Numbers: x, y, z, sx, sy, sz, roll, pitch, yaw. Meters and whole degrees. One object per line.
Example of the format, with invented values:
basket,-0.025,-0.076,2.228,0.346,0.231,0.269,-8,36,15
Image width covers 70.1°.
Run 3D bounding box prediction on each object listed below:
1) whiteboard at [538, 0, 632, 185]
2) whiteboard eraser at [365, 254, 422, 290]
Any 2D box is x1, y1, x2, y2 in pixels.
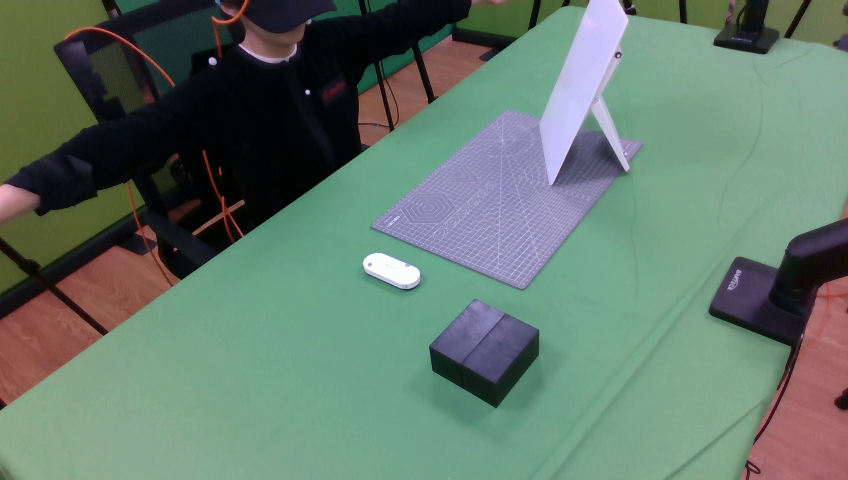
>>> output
whiteboard,0.327,-0.259,1.055,0.144,0.305,0.216,13,40,-6
whiteboard eraser,-0.047,0.048,0.931,0.100,0.019,0.041,21,49,31
